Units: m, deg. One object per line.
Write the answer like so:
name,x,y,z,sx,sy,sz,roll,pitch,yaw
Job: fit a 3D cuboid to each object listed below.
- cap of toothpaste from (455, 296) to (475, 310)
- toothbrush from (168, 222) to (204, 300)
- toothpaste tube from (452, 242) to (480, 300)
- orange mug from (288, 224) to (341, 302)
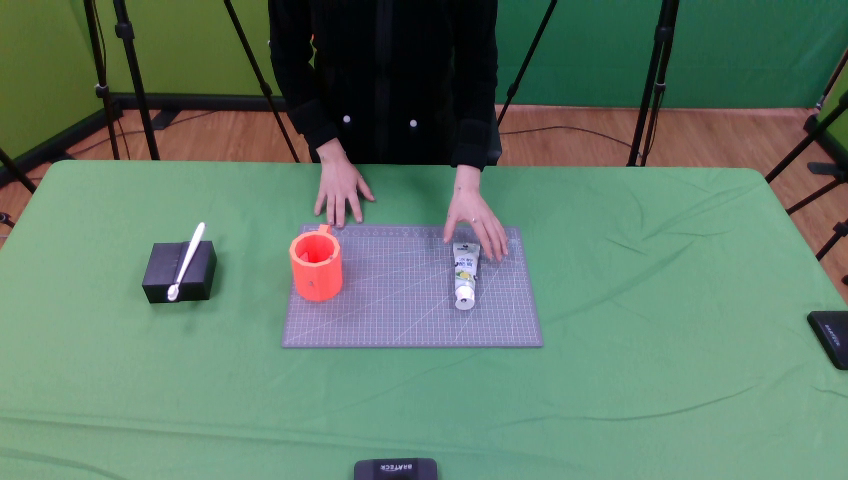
cap of toothpaste,0.072,0.111,1.081,0.037,0.037,0.011,-2,47,-6
toothbrush,-0.419,0.032,1.070,0.014,0.017,0.180,2,46,2
toothpaste tube,0.079,0.058,1.142,0.055,0.034,0.164,9,42,-3
orange mug,-0.192,0.034,1.094,0.083,0.101,0.125,7,50,2
